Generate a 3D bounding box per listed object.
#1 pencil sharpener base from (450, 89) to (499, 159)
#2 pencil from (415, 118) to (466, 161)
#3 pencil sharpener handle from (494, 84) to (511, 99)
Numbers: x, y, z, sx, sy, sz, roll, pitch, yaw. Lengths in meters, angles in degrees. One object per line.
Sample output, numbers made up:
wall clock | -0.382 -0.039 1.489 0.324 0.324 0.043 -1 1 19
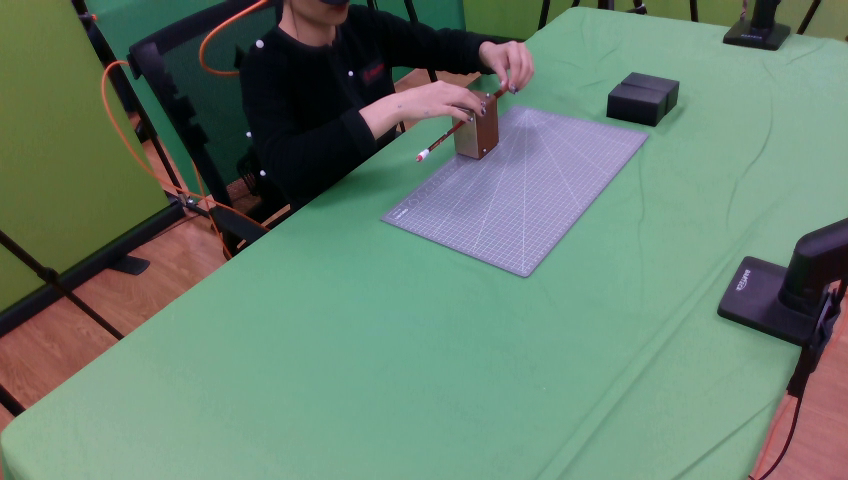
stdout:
pencil sharpener base | 0.100 -0.222 1.154 0.061 0.107 0.077 22 49 33
pencil | 0.046 -0.195 1.093 0.012 0.012 0.194 23 50 32
pencil sharpener handle | 0.136 -0.275 1.153 0.031 0.036 0.067 -43 15 -34
